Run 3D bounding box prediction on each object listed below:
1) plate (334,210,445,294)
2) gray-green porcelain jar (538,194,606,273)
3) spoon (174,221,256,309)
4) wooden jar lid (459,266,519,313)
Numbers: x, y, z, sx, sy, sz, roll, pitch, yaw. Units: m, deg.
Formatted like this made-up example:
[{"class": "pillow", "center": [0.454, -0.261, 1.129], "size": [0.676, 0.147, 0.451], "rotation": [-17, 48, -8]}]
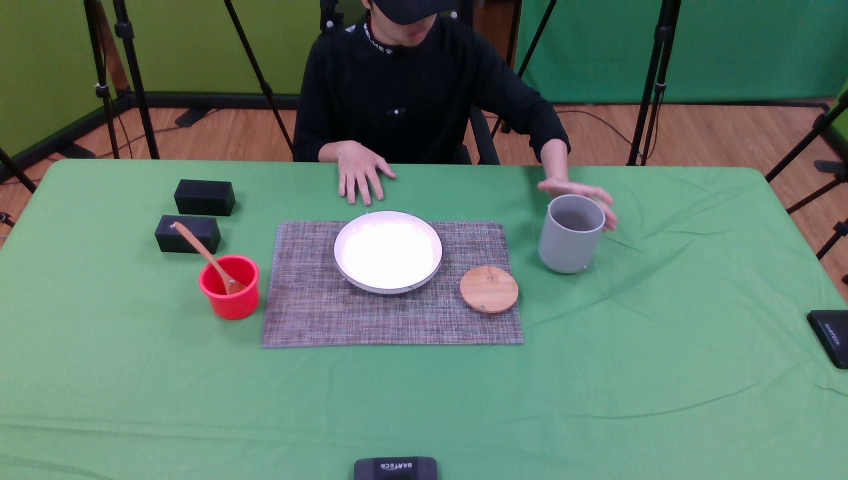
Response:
[{"class": "plate", "center": [-0.066, 0.026, 1.150], "size": [0.208, 0.039, 0.206], "rotation": [2, 46, -2]}, {"class": "gray-green porcelain jar", "center": [0.277, -0.007, 1.151], "size": [0.106, 0.127, 0.105], "rotation": [2, 46, -2]}, {"class": "spoon", "center": [-0.360, 0.043, 1.043], "size": [0.194, 0.021, 0.041], "rotation": [54, 52, -14]}, {"class": "wooden jar lid", "center": [0.118, 0.093, 1.111], "size": [0.108, 0.021, 0.107], "rotation": [1, 47, -1]}]
